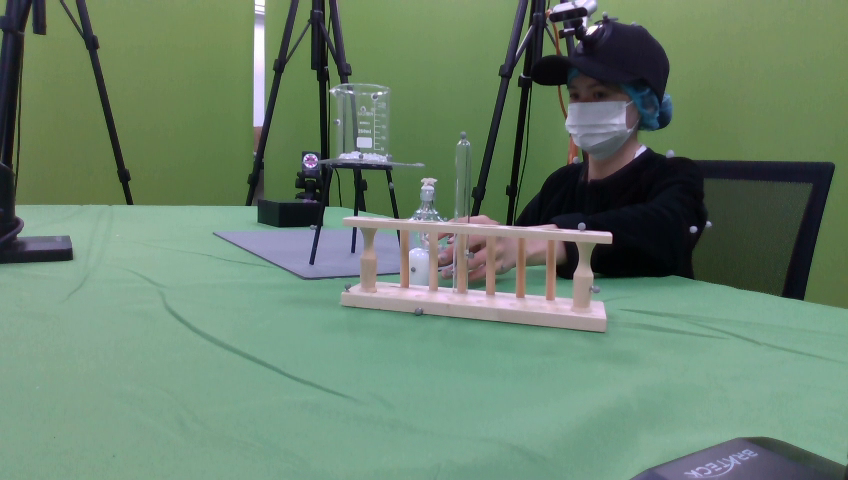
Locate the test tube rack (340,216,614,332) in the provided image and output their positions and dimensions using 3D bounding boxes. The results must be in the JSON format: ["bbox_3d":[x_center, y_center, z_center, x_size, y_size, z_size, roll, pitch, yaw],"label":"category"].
[{"bbox_3d":[0.048,0.026,0.568,0.242,0.085,0.067,4,7,13],"label":"test tube rack"}]

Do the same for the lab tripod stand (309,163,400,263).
[{"bbox_3d":[-0.091,-0.037,0.813,0.148,0.131,0.148,1,6,0],"label":"lab tripod stand"}]

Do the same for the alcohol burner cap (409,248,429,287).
[{"bbox_3d":[-0.008,0.033,0.674,0.034,0.048,0.034,3,6,0],"label":"alcohol burner cap"}]

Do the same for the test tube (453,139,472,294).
[{"bbox_3d":[0.037,-0.021,0.584,0.017,0.150,0.017,1,7,0],"label":"test tube"}]

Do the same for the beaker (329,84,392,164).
[{"bbox_3d":[-0.084,-0.149,0.794,0.084,0.100,0.073,-1,6,-23],"label":"beaker"}]

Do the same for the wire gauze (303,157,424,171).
[{"bbox_3d":[-0.082,-0.101,0.799,0.126,0.011,0.121,1,7,-30],"label":"wire gauze"}]

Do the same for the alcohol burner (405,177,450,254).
[{"bbox_3d":[0.004,-0.036,0.917,0.078,0.119,0.078,3,5,0],"label":"alcohol burner"}]
